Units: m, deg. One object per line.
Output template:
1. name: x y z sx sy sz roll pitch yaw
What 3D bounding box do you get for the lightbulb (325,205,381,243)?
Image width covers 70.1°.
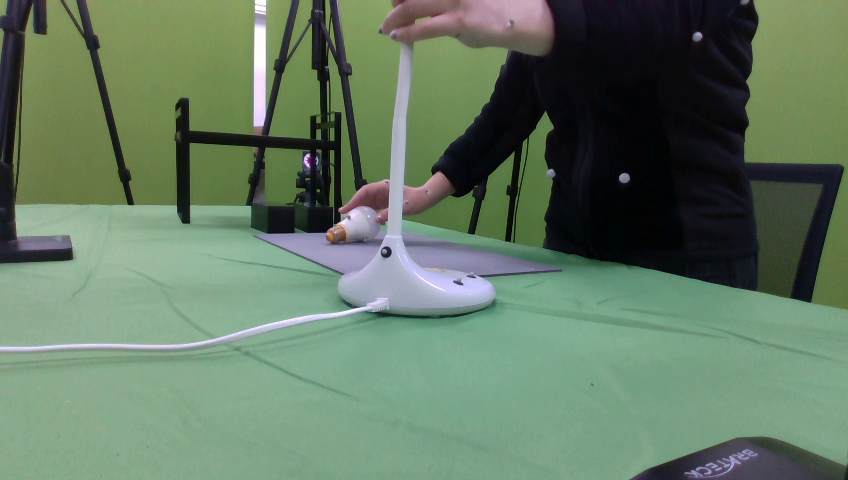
1. lightbulb: -0.119 -0.021 1.001 0.059 0.059 0.108 9 25 42

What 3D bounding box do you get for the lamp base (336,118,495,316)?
1. lamp base: -0.009 -0.026 0.589 0.160 0.180 0.179 4 10 14
